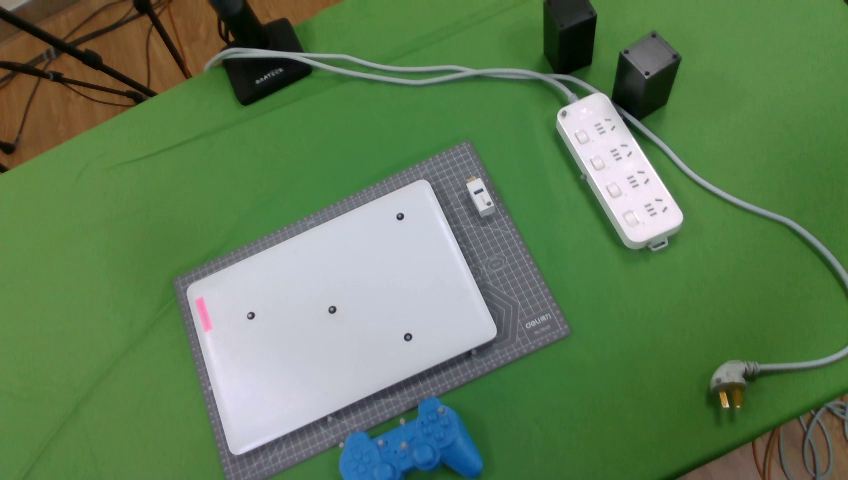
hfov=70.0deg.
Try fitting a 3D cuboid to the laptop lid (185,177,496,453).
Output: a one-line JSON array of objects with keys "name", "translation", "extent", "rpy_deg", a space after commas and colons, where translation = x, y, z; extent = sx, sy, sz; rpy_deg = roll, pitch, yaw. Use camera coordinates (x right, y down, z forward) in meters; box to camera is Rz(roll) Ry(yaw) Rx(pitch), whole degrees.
[{"name": "laptop lid", "translation": [-0.115, 0.086, 0.758], "extent": [0.357, 0.013, 0.240], "rpy_deg": [-24, 70, 2]}]

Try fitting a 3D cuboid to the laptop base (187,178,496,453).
[{"name": "laptop base", "translation": [-0.114, 0.088, 0.770], "extent": [0.354, 0.023, 0.233], "rpy_deg": [-25, 71, 1]}]

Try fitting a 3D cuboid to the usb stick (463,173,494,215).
[{"name": "usb stick", "translation": [0.067, -0.064, 0.782], "extent": [0.021, 0.027, 0.058], "rpy_deg": [-27, 65, 4]}]

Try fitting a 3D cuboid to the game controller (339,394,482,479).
[{"name": "game controller", "translation": [-0.021, 0.241, 0.684], "extent": [0.155, 0.052, 0.096], "rpy_deg": [-25, 64, 1]}]

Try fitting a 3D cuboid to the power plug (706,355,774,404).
[{"name": "power plug", "translation": [0.342, 0.148, 0.649], "extent": [0.072, 0.035, 0.052], "rpy_deg": [-12, 51, 19]}]

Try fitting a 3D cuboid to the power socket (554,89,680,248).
[{"name": "power socket", "translation": [0.237, -0.094, 0.759], "extent": [0.072, 0.033, 0.225], "rpy_deg": [-25, 68, 3]}]
